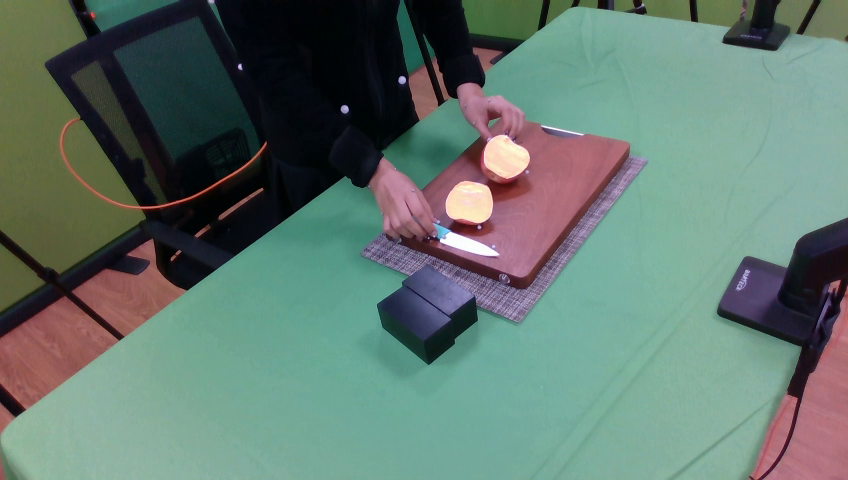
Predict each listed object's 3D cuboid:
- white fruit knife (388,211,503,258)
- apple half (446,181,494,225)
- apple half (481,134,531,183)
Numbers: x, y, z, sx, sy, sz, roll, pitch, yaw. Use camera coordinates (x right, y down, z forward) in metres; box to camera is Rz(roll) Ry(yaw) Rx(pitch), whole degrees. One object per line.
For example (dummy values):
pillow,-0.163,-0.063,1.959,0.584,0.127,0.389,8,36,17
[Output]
white fruit knife,0.032,-0.008,0.950,0.206,0.016,0.027,21,76,28
apple half,0.076,-0.056,0.976,0.081,0.033,0.081,-3,66,6
apple half,0.137,-0.134,1.043,0.081,0.053,0.074,32,69,3
